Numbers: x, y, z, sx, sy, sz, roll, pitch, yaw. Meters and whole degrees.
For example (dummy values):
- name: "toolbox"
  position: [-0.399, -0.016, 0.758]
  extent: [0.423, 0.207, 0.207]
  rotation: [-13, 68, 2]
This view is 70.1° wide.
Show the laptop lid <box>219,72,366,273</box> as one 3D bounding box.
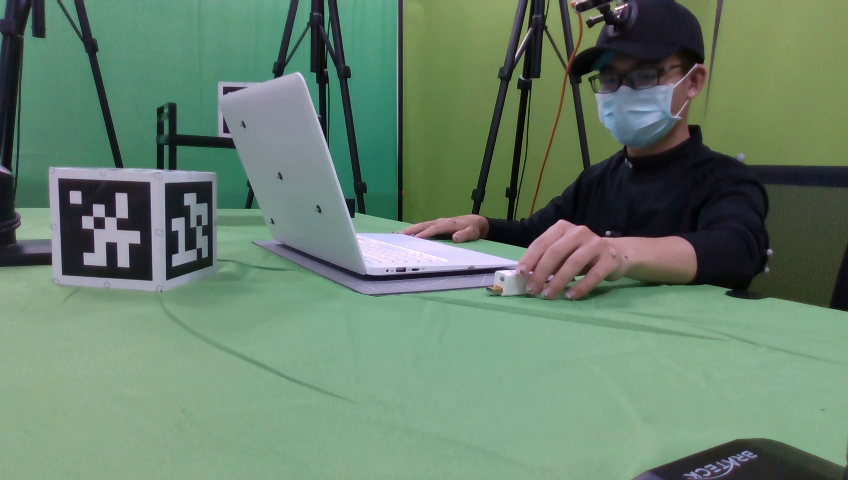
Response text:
- name: "laptop lid"
  position: [-0.189, -0.087, 0.800]
  extent: [0.013, 0.242, 0.355]
  rotation: [-26, 21, -26]

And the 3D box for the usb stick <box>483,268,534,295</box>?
- name: "usb stick"
  position: [0.093, 0.046, 0.673]
  extent: [0.059, 0.027, 0.021]
  rotation: [-4, 13, -30]

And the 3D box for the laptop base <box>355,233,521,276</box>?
- name: "laptop base"
  position: [-0.056, 0.018, 0.898]
  extent: [0.237, 0.023, 0.352]
  rotation: [2, 6, -32]
